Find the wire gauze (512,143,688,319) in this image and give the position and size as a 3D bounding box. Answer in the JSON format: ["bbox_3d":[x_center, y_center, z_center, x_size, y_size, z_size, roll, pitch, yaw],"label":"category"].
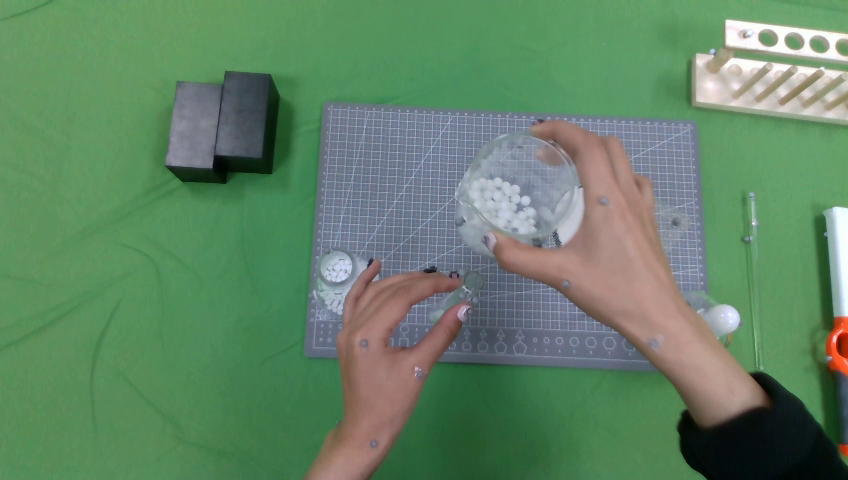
[{"bbox_3d":[0.163,-0.013,0.563,0.125,0.011,0.121,39,80,6],"label":"wire gauze"}]

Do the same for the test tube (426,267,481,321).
[{"bbox_3d":[0.021,0.047,0.494,0.017,0.150,0.017,3,73,-9],"label":"test tube"}]

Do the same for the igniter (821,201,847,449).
[{"bbox_3d":[0.472,0.091,0.679,0.057,0.025,0.275,7,78,-12],"label":"igniter"}]

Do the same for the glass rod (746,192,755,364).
[{"bbox_3d":[0.375,0.041,0.696,0.008,0.008,0.199,4,80,-2],"label":"glass rod"}]

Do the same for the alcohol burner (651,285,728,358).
[{"bbox_3d":[0.282,0.082,0.626,0.078,0.119,0.077,0,77,0],"label":"alcohol burner"}]

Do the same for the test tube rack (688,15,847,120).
[{"bbox_3d":[0.449,-0.198,0.712,0.242,0.085,0.066,6,77,-1],"label":"test tube rack"}]

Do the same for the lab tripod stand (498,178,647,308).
[{"bbox_3d":[0.158,-0.001,0.629,0.148,0.132,0.147,0,79,-1],"label":"lab tripod stand"}]

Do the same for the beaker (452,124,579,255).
[{"bbox_3d":[0.058,-0.030,0.442,0.084,0.100,0.073,-11,80,-6],"label":"beaker"}]

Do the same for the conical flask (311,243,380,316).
[{"bbox_3d":[-0.084,0.034,0.616,0.075,0.122,0.075,1,77,-2],"label":"conical flask"}]

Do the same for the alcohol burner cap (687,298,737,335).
[{"bbox_3d":[0.284,0.073,0.591,0.034,0.048,0.033,2,71,-5],"label":"alcohol burner cap"}]
